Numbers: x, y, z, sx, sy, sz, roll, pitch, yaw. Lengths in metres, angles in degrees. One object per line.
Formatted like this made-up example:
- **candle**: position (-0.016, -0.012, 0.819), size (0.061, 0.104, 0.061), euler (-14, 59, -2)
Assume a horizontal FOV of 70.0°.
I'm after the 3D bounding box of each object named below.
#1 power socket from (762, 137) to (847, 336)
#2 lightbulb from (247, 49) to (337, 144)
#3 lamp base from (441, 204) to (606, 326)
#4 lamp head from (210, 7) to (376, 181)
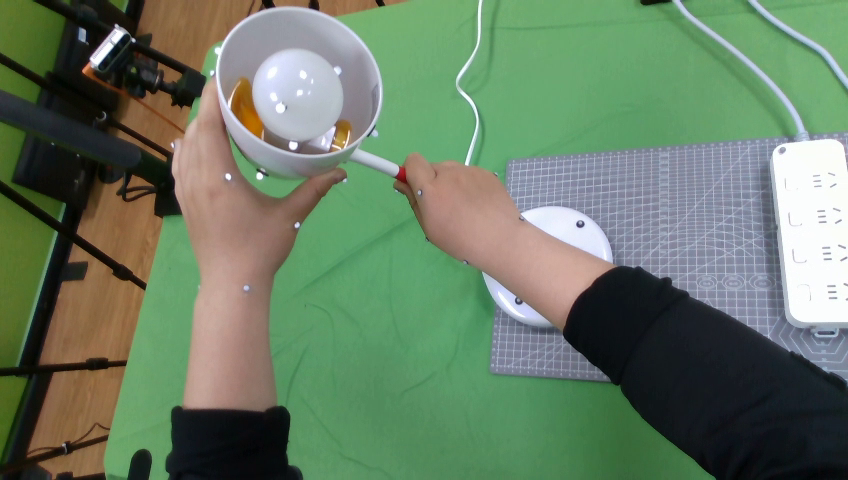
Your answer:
- **power socket**: position (0.417, -0.011, 0.657), size (0.072, 0.033, 0.225), euler (-3, 69, 22)
- **lightbulb**: position (-0.097, -0.094, 0.433), size (0.060, 0.107, 0.059), euler (3, 80, -19)
- **lamp base**: position (0.105, 0.005, 0.701), size (0.178, 0.182, 0.159), euler (-8, 67, 25)
- **lamp head**: position (-0.099, -0.093, 0.458), size (0.113, 0.123, 0.112), euler (4, 73, -14)
